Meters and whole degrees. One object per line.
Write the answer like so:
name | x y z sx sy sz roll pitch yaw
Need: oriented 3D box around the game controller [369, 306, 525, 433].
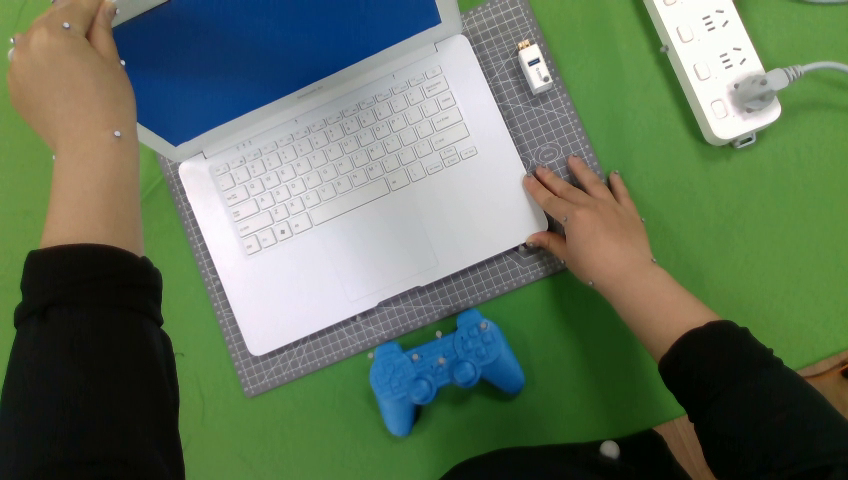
game controller | 0.018 0.132 0.625 0.155 0.052 0.096 -22 80 5

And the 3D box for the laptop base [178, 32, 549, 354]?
laptop base | -0.072 -0.049 0.659 0.354 0.023 0.235 -24 87 5

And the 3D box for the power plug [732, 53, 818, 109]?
power plug | 0.336 -0.149 0.586 0.072 0.053 0.035 -11 84 2

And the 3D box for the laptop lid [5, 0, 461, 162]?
laptop lid | -0.143 -0.184 0.557 0.356 0.243 0.013 -24 73 7

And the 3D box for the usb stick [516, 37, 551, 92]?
usb stick | 0.113 -0.188 0.636 0.021 0.027 0.059 -24 81 9

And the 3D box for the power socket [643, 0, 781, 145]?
power socket | 0.284 -0.205 0.615 0.072 0.032 0.226 -22 84 7
